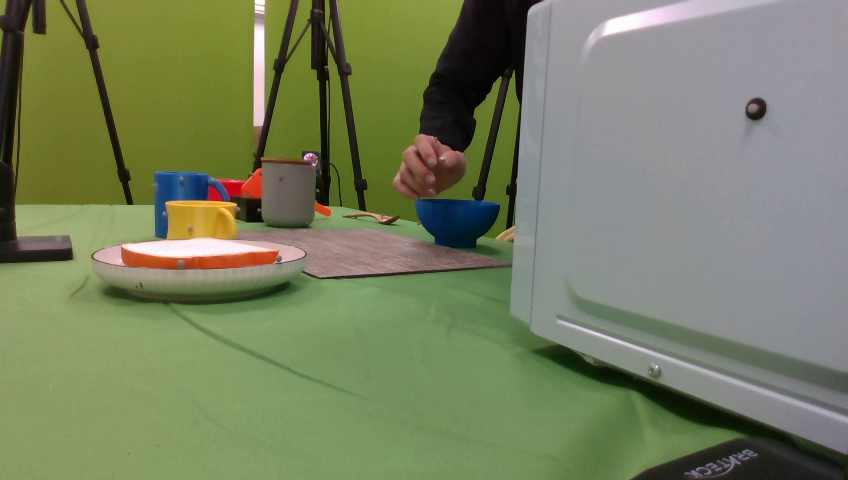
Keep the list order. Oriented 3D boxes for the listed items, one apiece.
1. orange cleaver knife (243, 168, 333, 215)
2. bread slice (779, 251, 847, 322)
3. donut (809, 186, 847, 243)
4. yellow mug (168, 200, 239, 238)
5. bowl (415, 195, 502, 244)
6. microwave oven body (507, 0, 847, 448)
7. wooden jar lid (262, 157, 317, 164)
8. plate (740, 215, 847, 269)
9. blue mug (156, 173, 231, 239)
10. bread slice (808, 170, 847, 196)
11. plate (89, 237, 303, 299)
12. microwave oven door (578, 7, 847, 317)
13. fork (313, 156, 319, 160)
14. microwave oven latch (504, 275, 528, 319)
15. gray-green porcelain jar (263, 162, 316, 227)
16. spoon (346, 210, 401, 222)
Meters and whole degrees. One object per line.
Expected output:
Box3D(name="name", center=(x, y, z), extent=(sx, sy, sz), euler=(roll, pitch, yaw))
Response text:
Box3D(name="orange cleaver knife", center=(-0.300, -0.089, 1.352), extent=(0.212, 0.077, 0.012), euler=(29, -9, -34))
Box3D(name="bread slice", center=(0.370, 0.027, 0.479), extent=(0.132, 0.019, 0.104), euler=(-25, 10, -7))
Box3D(name="donut", center=(0.351, -0.023, 0.463), extent=(0.099, 0.048, 0.099), euler=(-10, 5, 1))
Box3D(name="yellow mug", center=(-0.319, -0.023, 0.904), extent=(0.130, 0.064, 0.100), euler=(9, 11, 36))
Box3D(name="bowl", center=(0.059, -0.035, 1.049), extent=(0.151, 0.077, 0.151), euler=(2, 7, 0))
Box3D(name="microwave oven body", center=(0.331, -0.042, 0.425), extent=(0.444, 0.260, 0.324), euler=(-2, 8, -31))
Box3D(name="wooden jar lid", center=(-0.269, -0.154, 1.208), extent=(0.108, 0.020, 0.108), euler=(3, 4, 0))
Box3D(name="plate", center=(0.358, 0.001, 0.463), extent=(0.209, 0.038, 0.209), euler=(1, 4, 0))
Box3D(name="blue mug", center=(-0.381, -0.057, 1.004), extent=(0.117, 0.106, 0.082), euler=(1, 8, -12))
Box3D(name="bread slice", center=(0.366, -0.051, 0.453), extent=(0.135, 0.018, 0.106), euler=(-9, 1, -23))
Box3D(name="plate", center=(-0.233, 0.029, 0.636), extent=(0.208, 0.039, 0.207), euler=(2, 7, 0))
Box3D(name="microwave oven door", center=(0.295, -0.066, 0.570), extent=(0.358, 0.243, 0.039), euler=(-3, 9, -31))
Box3D(name="fork", center=(-0.331, -0.144, 1.506), extent=(0.207, 0.018, 0.028), euler=(-42, -18, 22))
Box3D(name="microwave oven latch", center=(0.100, 0.042, 0.470), extent=(0.079, 0.029, 0.030), euler=(-1, 7, -27))
Box3D(name="gray-green porcelain jar", center=(-0.271, -0.092, 1.217), extent=(0.106, 0.126, 0.106), euler=(2, 7, 0))
Box3D(name="spoon", center=(-0.121, -0.060, 1.400), extent=(0.042, 0.021, 0.192), euler=(-27, 24, -38))
